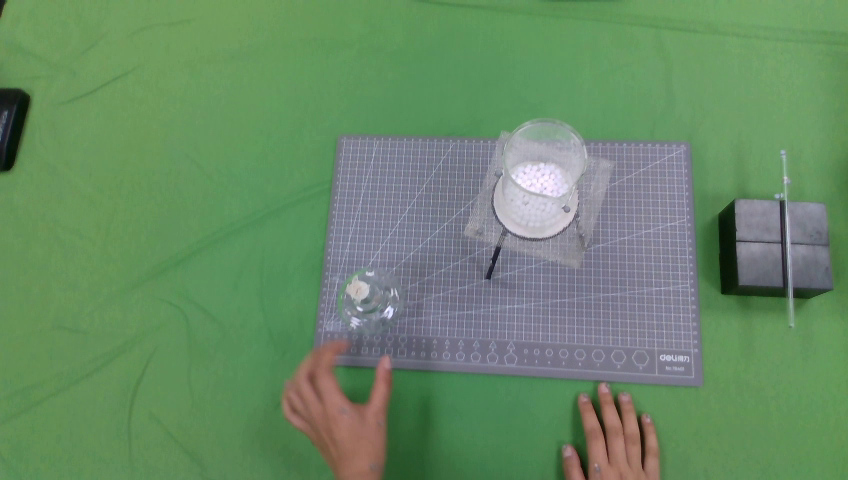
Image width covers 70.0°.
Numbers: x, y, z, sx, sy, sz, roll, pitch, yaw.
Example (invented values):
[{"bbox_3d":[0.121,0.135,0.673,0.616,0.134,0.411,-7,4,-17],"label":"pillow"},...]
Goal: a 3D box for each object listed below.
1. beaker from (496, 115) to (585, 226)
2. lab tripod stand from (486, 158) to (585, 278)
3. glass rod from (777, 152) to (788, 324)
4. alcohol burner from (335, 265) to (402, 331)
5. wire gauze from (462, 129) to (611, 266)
[{"bbox_3d":[0.108,-0.057,0.571,0.074,0.101,0.083,-25,73,-2],"label":"beaker"},{"bbox_3d":[0.116,-0.028,0.681,0.148,0.132,0.147,-2,73,6],"label":"lab tripod stand"},{"bbox_3d":[0.397,-0.005,0.671,0.008,0.008,0.198,5,75,6],"label":"glass rod"},{"bbox_3d":[-0.065,0.062,0.680,0.078,0.120,0.077,-1,75,5],"label":"alcohol burner"},{"bbox_3d":[0.116,-0.045,0.617,0.121,0.011,0.124,19,74,9],"label":"wire gauze"}]
